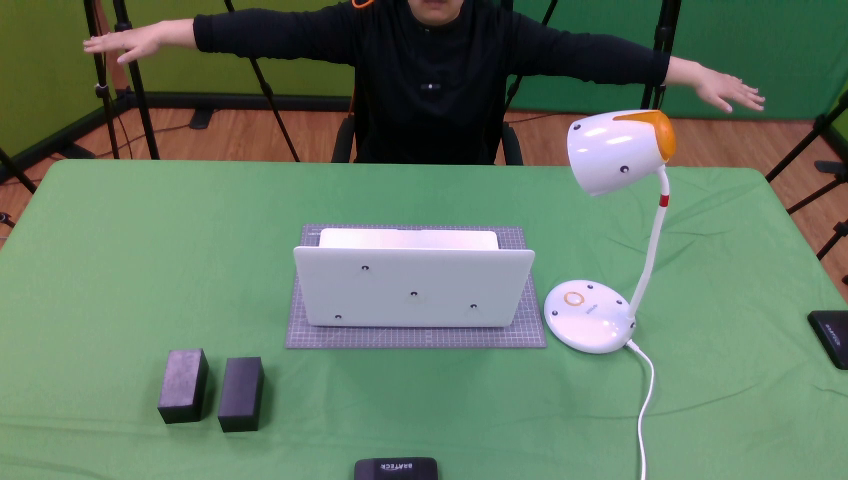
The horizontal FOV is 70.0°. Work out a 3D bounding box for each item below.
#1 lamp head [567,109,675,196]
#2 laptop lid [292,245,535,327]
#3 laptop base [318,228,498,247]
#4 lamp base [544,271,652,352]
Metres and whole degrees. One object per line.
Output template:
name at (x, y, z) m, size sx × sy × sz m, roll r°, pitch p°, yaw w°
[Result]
lamp head at (0.272, -0.123, 0.818) m, size 0.122 × 0.113 × 0.112 m, roll -9°, pitch 35°, yaw 37°
laptop lid at (-0.018, 0.080, 0.956) m, size 0.357 × 0.243 × 0.013 m, roll 2°, pitch 54°, yaw -5°
laptop base at (-0.028, 0.066, 1.134) m, size 0.355 × 0.023 × 0.234 m, roll 1°, pitch 43°, yaw -4°
lamp base at (0.310, 0.086, 1.029) m, size 0.178 × 0.181 × 0.160 m, roll 32°, pitch 52°, yaw 21°
